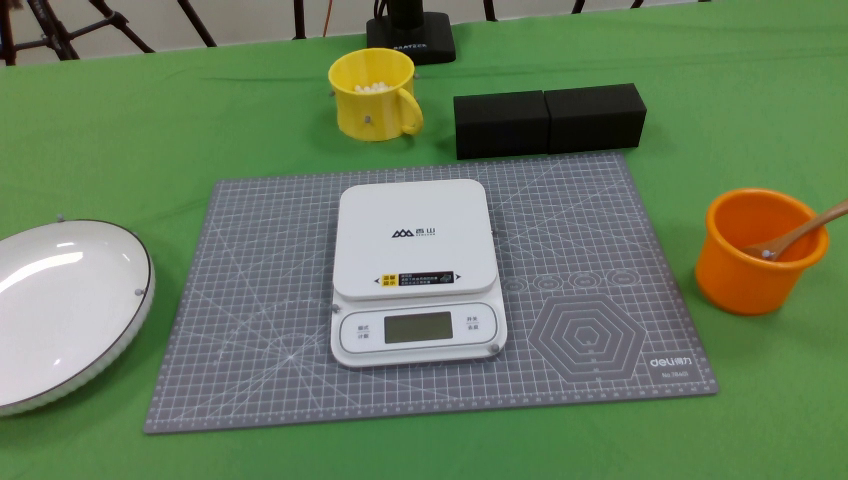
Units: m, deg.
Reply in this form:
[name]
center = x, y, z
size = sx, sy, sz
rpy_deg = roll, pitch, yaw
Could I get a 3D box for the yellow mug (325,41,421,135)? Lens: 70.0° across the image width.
[yellow mug]
center = -0.051, -0.174, 0.710
size = 0.129, 0.064, 0.100
rpy_deg = 35, 59, 29

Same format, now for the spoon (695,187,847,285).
[spoon]
center = 0.309, -0.018, 0.484
size = 0.022, 0.194, 0.041
rpy_deg = 25, 42, -34

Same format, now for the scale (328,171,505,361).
[scale]
center = -0.010, 0.015, 0.554
size = 0.149, 0.032, 0.199
rpy_deg = -4, 48, 1

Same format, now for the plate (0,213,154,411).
[plate]
center = -0.343, 0.061, 0.537
size = 0.209, 0.038, 0.207
rpy_deg = -2, 48, 2
